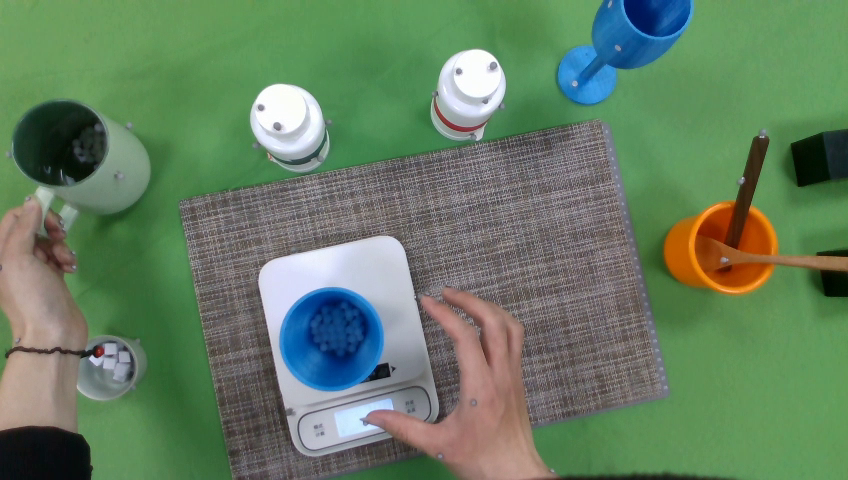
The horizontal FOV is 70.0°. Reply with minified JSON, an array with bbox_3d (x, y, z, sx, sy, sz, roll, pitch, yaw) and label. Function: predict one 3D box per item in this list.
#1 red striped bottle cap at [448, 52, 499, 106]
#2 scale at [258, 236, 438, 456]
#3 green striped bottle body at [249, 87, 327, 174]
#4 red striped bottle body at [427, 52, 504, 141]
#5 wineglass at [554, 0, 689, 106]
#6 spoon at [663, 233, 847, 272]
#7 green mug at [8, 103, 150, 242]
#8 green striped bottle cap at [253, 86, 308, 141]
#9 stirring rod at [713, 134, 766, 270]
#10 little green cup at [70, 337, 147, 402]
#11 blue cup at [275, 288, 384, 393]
[{"bbox_3d":[0.044,-0.143,0.535,0.044,0.018,0.044,1,83,-4],"label":"red striped bottle cap"},{"bbox_3d":[-0.075,0.105,0.603,0.149,0.031,0.200,-13,88,-6],"label":"scale"},{"bbox_3d":[-0.127,-0.103,0.571,0.063,0.119,0.063,0,86,-5],"label":"green striped bottle body"},{"bbox_3d":[0.039,-0.139,0.588,0.063,0.119,0.063,0,86,-5],"label":"red striped bottle body"},{"bbox_3d":[0.180,-0.185,0.576,0.074,0.172,0.073,0,86,-4],"label":"wineglass"},{"bbox_3d":[0.334,0.018,0.591,0.022,0.192,0.041,-1,94,-48],"label":"spoon"},{"bbox_3d":[-0.319,-0.056,0.555,0.093,0.105,0.125,24,81,-4],"label":"green mug"},{"bbox_3d":[-0.122,-0.108,0.515,0.044,0.020,0.044,0,86,-4],"label":"green striped bottle cap"},{"bbox_3d":[0.305,-0.030,0.591,0.014,0.178,0.005,-3,46,8],"label":"stirring rod"},{"bbox_3d":[-0.299,0.122,0.582,0.061,0.038,0.061,0,86,-6],"label":"little green cup"},{"bbox_3d":[-0.079,0.083,0.539,0.093,0.100,0.092,0,88,-5],"label":"blue cup"}]
